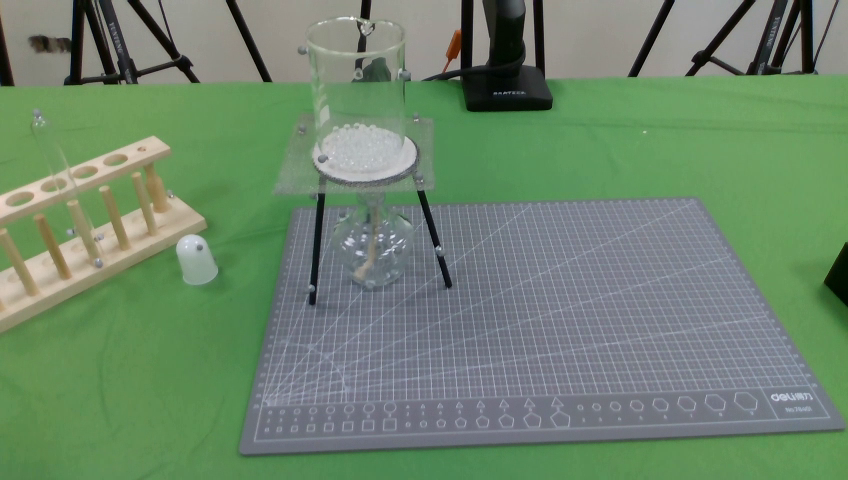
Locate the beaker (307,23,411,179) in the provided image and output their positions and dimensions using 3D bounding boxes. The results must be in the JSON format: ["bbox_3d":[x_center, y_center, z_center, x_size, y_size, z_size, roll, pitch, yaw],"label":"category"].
[{"bbox_3d":[-0.047,-0.107,0.468,0.074,0.101,0.083,6,39,4],"label":"beaker"}]

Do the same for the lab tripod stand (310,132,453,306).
[{"bbox_3d":[-0.042,-0.018,0.541,0.148,0.132,0.147,1,38,-1],"label":"lab tripod stand"}]

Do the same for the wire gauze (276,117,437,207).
[{"bbox_3d":[-0.050,-0.068,0.497,0.121,0.011,0.124,1,41,0],"label":"wire gauze"}]

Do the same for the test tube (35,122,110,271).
[{"bbox_3d":[-0.306,-0.033,0.530,0.017,0.151,0.017,1,38,0],"label":"test tube"}]

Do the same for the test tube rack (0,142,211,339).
[{"bbox_3d":[-0.331,0.001,0.559,0.066,0.086,0.242,31,48,33],"label":"test tube rack"}]

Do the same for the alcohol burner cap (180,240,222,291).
[{"bbox_3d":[-0.212,0.021,0.570,0.034,0.048,0.033,1,40,0],"label":"alcohol burner cap"}]

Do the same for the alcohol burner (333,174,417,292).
[{"bbox_3d":[-0.045,-0.010,0.548,0.078,0.120,0.077,1,41,-1],"label":"alcohol burner"}]
